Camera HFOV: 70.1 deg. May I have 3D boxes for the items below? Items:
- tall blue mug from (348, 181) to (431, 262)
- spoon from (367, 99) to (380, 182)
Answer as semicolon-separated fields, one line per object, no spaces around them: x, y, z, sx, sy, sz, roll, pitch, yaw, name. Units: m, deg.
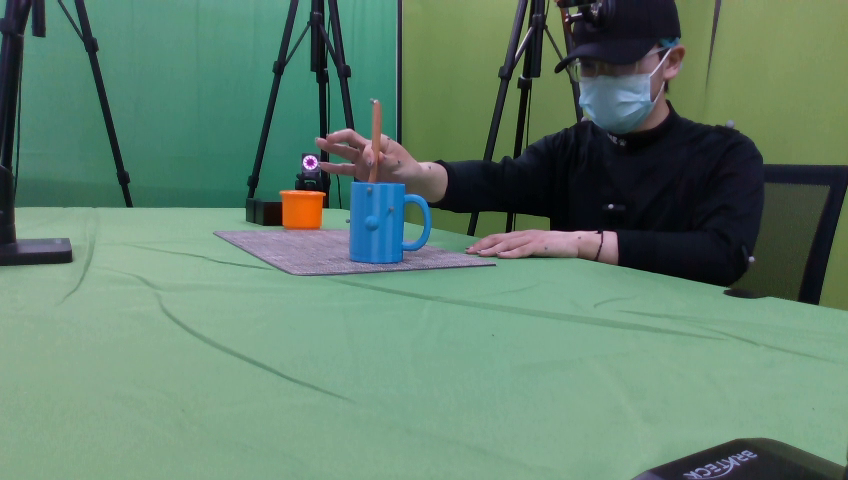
-0.052;-0.028;0.849;0.108;0.108;0.077;-1;7;-22;tall blue mug
-0.073;-0.104;0.854;0.042;0.193;0.021;7;0;-33;spoon
